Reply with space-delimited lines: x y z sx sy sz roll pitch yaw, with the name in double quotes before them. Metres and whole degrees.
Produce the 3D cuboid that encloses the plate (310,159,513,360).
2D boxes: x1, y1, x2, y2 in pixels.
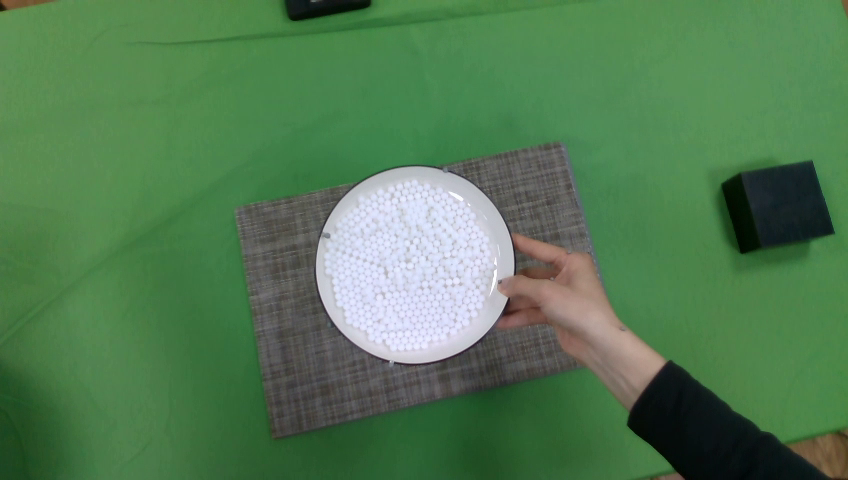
"plate" -0.012 0.019 0.632 0.209 0.038 0.208 0 80 0
